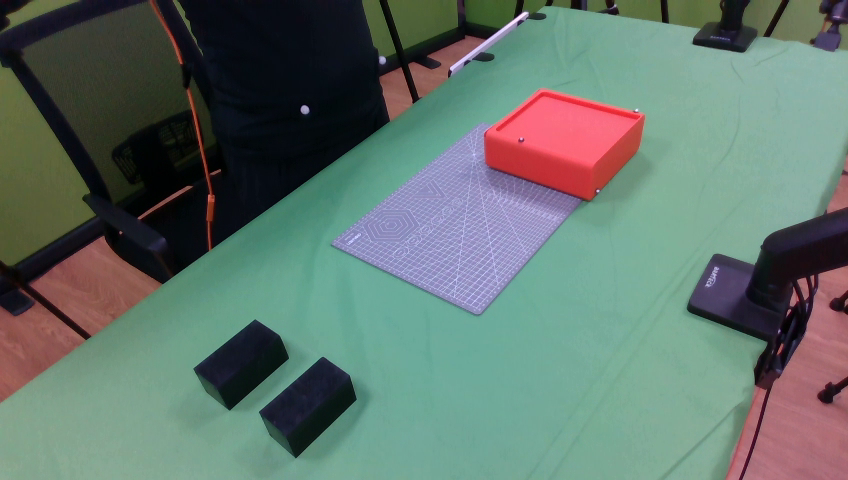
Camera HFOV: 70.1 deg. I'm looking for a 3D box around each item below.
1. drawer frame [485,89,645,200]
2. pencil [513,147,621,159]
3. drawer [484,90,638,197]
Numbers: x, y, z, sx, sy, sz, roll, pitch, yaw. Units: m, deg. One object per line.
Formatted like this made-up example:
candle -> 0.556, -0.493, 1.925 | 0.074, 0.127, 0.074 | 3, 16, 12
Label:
drawer frame -> 0.253, -0.180, 1.094 | 0.212, 0.083, 0.202 | 24, 48, 31
pencil -> 0.259, -0.157, 1.101 | 0.194, 0.012, 0.012 | -4, 40, 3
drawer -> 0.247, -0.180, 1.097 | 0.210, 0.073, 0.195 | 25, 49, 31
